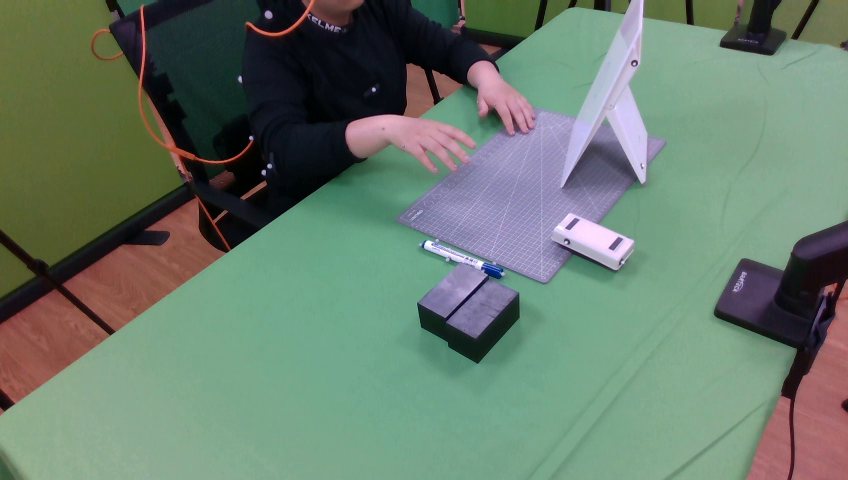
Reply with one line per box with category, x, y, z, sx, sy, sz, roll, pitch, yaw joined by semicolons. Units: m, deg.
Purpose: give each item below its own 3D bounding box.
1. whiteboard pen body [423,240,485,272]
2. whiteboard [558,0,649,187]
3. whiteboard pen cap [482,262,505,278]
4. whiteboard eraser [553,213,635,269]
whiteboard pen body;0.057;0.028;0.942;0.139;0.017;0.017;22;49;30
whiteboard;0.361;-0.238;1.026;0.144;0.306;0.217;21;44;3
whiteboard pen cap;0.104;0.044;0.912;0.033;0.018;0.018;22;49;29
whiteboard eraser;0.257;0.003;0.918;0.112;0.042;0.056;27;49;30
